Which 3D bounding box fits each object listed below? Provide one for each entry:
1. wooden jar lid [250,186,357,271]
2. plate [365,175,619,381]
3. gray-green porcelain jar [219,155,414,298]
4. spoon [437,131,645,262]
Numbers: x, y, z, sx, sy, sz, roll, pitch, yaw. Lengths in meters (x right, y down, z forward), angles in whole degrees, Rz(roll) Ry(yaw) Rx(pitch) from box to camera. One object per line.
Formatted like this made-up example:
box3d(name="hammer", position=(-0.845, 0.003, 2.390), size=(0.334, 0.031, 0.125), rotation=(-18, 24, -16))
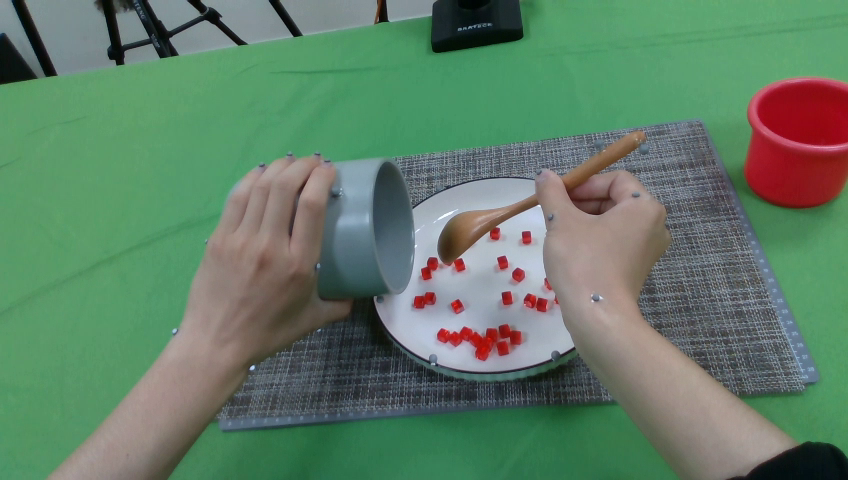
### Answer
box3d(name="wooden jar lid", position=(-0.118, -0.011, 0.600), size=(0.108, 0.021, 0.107), rotation=(-6, 47, 7))
box3d(name="plate", position=(0.055, 0.029, 0.510), size=(0.207, 0.039, 0.205), rotation=(-7, 48, 8))
box3d(name="gray-green porcelain jar", position=(-0.082, -0.008, 0.470), size=(0.126, 0.107, 0.105), rotation=(-3, 48, 14))
box3d(name="spoon", position=(0.076, -0.031, 0.450), size=(0.193, 0.022, 0.041), rotation=(-27, 46, 35))
